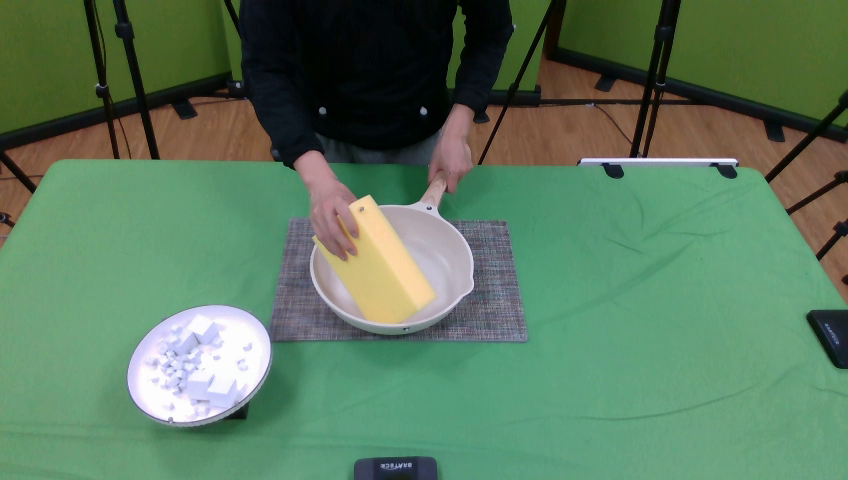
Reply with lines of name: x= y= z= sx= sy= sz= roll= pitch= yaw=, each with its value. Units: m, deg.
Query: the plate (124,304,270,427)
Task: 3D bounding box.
plate: x=-0.336 y=0.189 z=0.913 sx=0.208 sy=0.039 sz=0.206 roll=1 pitch=46 yaw=-1

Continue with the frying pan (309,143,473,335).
frying pan: x=-0.018 y=-0.022 z=1.155 sx=0.306 sy=0.103 sz=0.486 roll=20 pitch=57 yaw=13

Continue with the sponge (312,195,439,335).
sponge: x=-0.084 y=0.044 z=1.018 sx=0.207 sy=0.118 sz=0.061 roll=56 pitch=41 yaw=-1
